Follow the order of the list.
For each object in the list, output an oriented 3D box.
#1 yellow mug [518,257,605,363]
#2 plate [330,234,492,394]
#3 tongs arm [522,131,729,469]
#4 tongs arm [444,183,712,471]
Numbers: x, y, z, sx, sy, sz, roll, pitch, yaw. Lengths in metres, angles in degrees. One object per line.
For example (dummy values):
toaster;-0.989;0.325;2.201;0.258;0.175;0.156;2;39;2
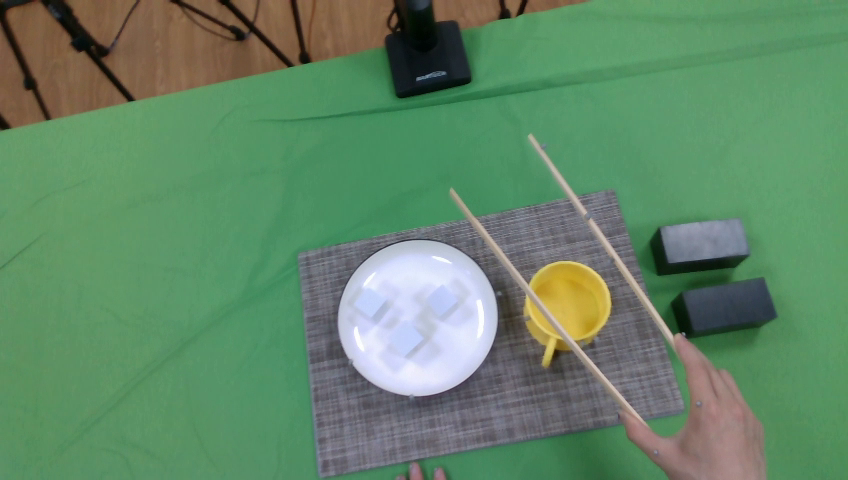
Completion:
yellow mug;0.163;0.091;0.750;0.099;0.064;0.130;19;73;12
plate;-0.016;0.095;0.783;0.207;0.039;0.206;-2;70;5
tongs arm;0.191;0.047;0.624;0.051;0.027;0.382;-32;72;0
tongs arm;0.142;0.080;0.626;0.028;0.028;0.384;-37;72;-5
